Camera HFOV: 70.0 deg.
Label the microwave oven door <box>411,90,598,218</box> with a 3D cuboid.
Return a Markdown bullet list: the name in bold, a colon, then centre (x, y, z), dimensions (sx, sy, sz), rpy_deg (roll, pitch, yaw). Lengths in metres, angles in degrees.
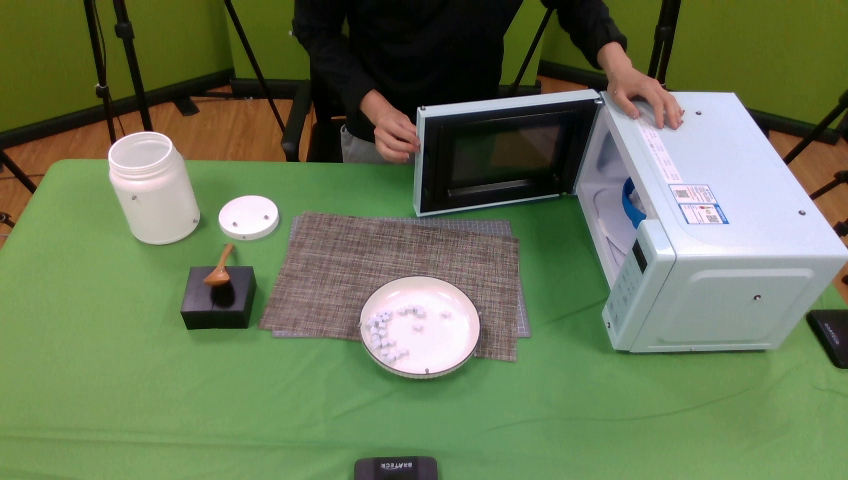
- **microwave oven door**: centre (0.155, -0.169, 1.202), dimensions (0.356, 0.245, 0.039), rpy_deg (-9, 47, -13)

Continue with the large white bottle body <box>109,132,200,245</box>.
- **large white bottle body**: centre (-0.506, -0.097, 1.141), dimensions (0.131, 0.185, 0.130), rpy_deg (2, 46, -2)

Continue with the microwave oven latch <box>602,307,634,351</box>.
- **microwave oven latch**: centre (0.332, 0.153, 1.044), dimensions (0.030, 0.029, 0.078), rpy_deg (0, 45, -4)

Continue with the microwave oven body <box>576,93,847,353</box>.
- **microwave oven body**: centre (0.475, -0.041, 1.109), dimensions (0.326, 0.261, 0.438), rpy_deg (-1, 45, -4)

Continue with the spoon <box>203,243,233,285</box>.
- **spoon**: centre (-0.360, 0.039, 1.087), dimensions (0.041, 0.022, 0.192), rpy_deg (-5, 24, -7)

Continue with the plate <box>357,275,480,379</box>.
- **plate**: centre (-0.010, 0.151, 1.038), dimensions (0.209, 0.038, 0.208), rpy_deg (2, 47, -2)

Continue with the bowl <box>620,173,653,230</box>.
- **bowl**: centre (0.445, -0.057, 1.165), dimensions (0.151, 0.077, 0.150), rpy_deg (1, 46, -1)

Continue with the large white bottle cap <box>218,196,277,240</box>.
- **large white bottle cap**: centre (-0.354, -0.045, 1.220), dimensions (0.115, 0.018, 0.114), rpy_deg (2, 45, -2)
